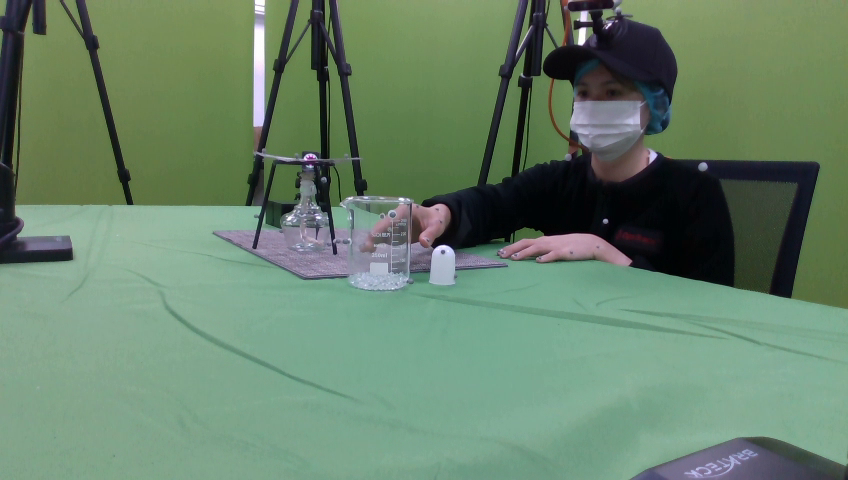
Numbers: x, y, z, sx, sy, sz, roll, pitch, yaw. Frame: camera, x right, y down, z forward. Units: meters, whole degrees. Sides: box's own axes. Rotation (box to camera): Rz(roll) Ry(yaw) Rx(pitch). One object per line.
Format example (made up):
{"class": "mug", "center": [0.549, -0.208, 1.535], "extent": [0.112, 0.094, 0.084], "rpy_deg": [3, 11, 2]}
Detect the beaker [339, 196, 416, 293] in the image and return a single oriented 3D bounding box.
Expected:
{"class": "beaker", "center": [-0.052, 0.004, 0.661], "extent": [0.084, 0.100, 0.073], "rpy_deg": [-1, 7, -18]}

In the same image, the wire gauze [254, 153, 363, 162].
{"class": "wire gauze", "center": [-0.172, -0.119, 0.891], "extent": [0.122, 0.011, 0.124], "rpy_deg": [-2, 7, -38]}

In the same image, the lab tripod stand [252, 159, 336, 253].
{"class": "lab tripod stand", "center": [-0.180, -0.053, 0.900], "extent": [0.148, 0.131, 0.148], "rpy_deg": [1, 6, 0]}

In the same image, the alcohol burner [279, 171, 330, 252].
{"class": "alcohol burner", "center": [-0.174, -0.043, 0.896], "extent": [0.078, 0.119, 0.078], "rpy_deg": [3, 5, 0]}

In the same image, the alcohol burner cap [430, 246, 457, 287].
{"class": "alcohol burner cap", "center": [0.024, 0.030, 0.705], "extent": [0.034, 0.048, 0.034], "rpy_deg": [2, 7, 0]}
